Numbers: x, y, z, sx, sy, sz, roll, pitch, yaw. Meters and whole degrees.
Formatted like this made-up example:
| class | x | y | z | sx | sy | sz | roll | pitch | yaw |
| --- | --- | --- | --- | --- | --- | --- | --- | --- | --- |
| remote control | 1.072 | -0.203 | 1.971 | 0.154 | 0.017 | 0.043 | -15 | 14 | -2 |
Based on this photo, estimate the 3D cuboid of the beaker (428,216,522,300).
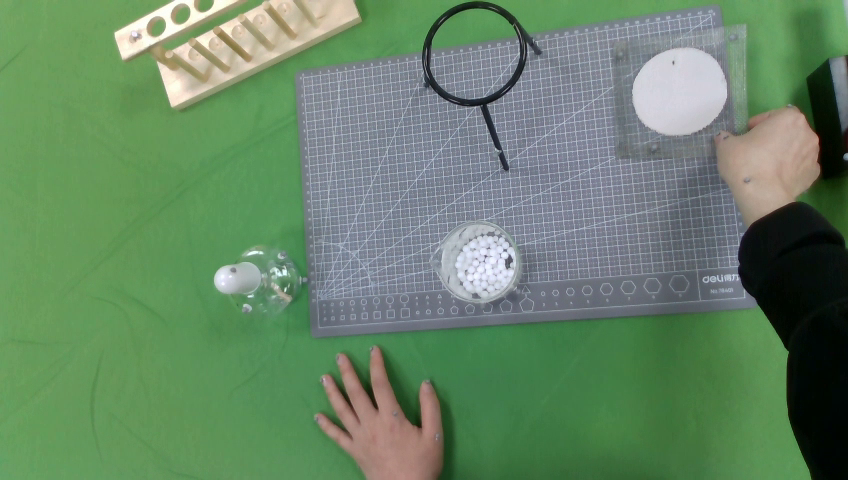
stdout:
| class | x | y | z | sx | sy | sz | roll | pitch | yaw |
| --- | --- | --- | --- | --- | --- | --- | --- | --- | --- |
| beaker | 0.054 | 0.020 | 0.580 | 0.084 | 0.100 | 0.074 | 1 | 85 | 13 |

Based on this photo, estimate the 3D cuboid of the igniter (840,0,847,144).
| class | x | y | z | sx | sy | sz | roll | pitch | yaw |
| --- | --- | --- | --- | --- | --- | --- | --- | --- | --- |
| igniter | 0.386 | -0.116 | 0.512 | 0.057 | 0.025 | 0.275 | -6 | 82 | 14 |

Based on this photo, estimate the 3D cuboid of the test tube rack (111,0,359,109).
| class | x | y | z | sx | sy | sz | roll | pitch | yaw |
| --- | --- | --- | --- | --- | --- | --- | --- | --- | --- |
| test tube rack | -0.202 | -0.233 | 0.659 | 0.242 | 0.085 | 0.066 | -23 | 81 | 9 |

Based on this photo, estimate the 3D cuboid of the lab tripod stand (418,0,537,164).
| class | x | y | z | sx | sy | sz | roll | pitch | yaw |
| --- | --- | --- | --- | --- | --- | --- | --- | --- | --- |
| lab tripod stand | 0.054 | -0.154 | 0.574 | 0.148 | 0.132 | 0.148 | -1 | 87 | 10 |

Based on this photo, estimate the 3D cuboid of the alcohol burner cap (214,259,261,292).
| class | x | y | z | sx | sy | sz | roll | pitch | yaw |
| --- | --- | --- | --- | --- | --- | --- | --- | --- | --- |
| alcohol burner cap | -0.184 | 0.035 | 0.586 | 0.034 | 0.048 | 0.034 | 0 | 89 | 11 |

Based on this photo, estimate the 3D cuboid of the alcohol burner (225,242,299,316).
| class | x | y | z | sx | sy | sz | roll | pitch | yaw |
| --- | --- | --- | --- | --- | --- | --- | --- | --- | --- |
| alcohol burner | -0.176 | 0.039 | 0.621 | 0.078 | 0.119 | 0.077 | -1 | 83 | 11 |

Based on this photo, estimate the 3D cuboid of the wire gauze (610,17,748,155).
| class | x | y | z | sx | sy | sz | roll | pitch | yaw |
| --- | --- | --- | --- | --- | --- | --- | --- | --- | --- |
| wire gauze | 0.247 | -0.146 | 0.592 | 0.124 | 0.011 | 0.121 | -1 | 93 | 22 |
